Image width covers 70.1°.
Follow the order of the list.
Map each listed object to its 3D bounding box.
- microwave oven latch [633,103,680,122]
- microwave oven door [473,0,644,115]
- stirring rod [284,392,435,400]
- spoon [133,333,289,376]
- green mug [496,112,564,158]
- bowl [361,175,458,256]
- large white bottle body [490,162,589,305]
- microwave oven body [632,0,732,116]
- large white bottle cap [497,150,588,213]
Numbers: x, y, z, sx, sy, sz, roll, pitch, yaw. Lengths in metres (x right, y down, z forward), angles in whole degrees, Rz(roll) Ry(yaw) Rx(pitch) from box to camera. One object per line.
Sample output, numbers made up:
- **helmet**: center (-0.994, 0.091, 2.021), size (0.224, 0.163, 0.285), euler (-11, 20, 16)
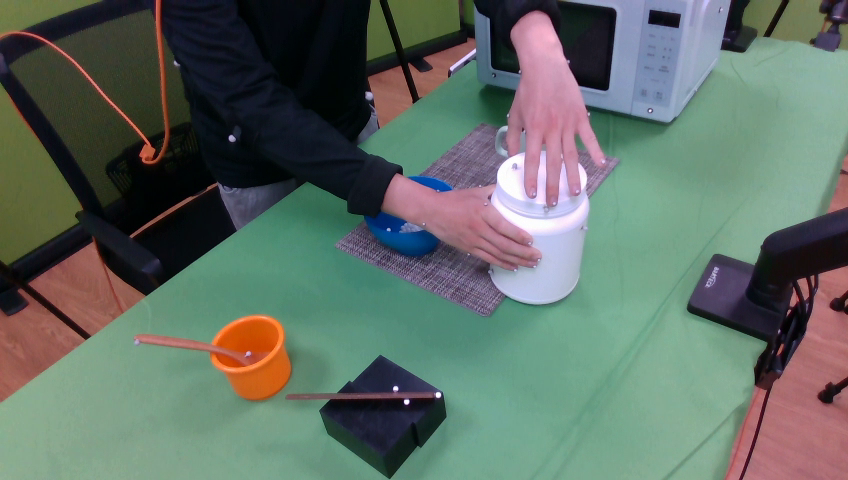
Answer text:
- **microwave oven latch**: center (0.443, -0.249, 1.157), size (0.078, 0.029, 0.030), euler (20, 48, 30)
- **microwave oven door**: center (0.257, -0.396, 1.199), size (0.353, 0.245, 0.039), euler (21, 48, 29)
- **stirring rod**: center (-0.076, 0.180, 0.697), size (0.176, 0.006, 0.014), euler (-2, 6, 6)
- **spoon**: center (-0.257, 0.137, 0.747), size (0.195, 0.021, 0.041), euler (25, 26, -36)
- **green mug**: center (0.185, -0.161, 1.061), size (0.124, 0.105, 0.092), euler (15, 46, 25)
- **bowl**: center (-0.019, -0.029, 0.955), size (0.151, 0.077, 0.150), euler (-4, 40, 4)
- **large white bottle body**: center (0.157, -0.015, 0.834), size (0.130, 0.185, 0.130), euler (-3, 43, 3)
- **microwave oven body**: center (0.377, -0.462, 1.267), size (0.438, 0.261, 0.327), euler (21, 48, 30)
- **large white bottle cap**: center (0.152, -0.077, 0.776), size (0.115, 0.018, 0.114), euler (-1, 43, 2)
